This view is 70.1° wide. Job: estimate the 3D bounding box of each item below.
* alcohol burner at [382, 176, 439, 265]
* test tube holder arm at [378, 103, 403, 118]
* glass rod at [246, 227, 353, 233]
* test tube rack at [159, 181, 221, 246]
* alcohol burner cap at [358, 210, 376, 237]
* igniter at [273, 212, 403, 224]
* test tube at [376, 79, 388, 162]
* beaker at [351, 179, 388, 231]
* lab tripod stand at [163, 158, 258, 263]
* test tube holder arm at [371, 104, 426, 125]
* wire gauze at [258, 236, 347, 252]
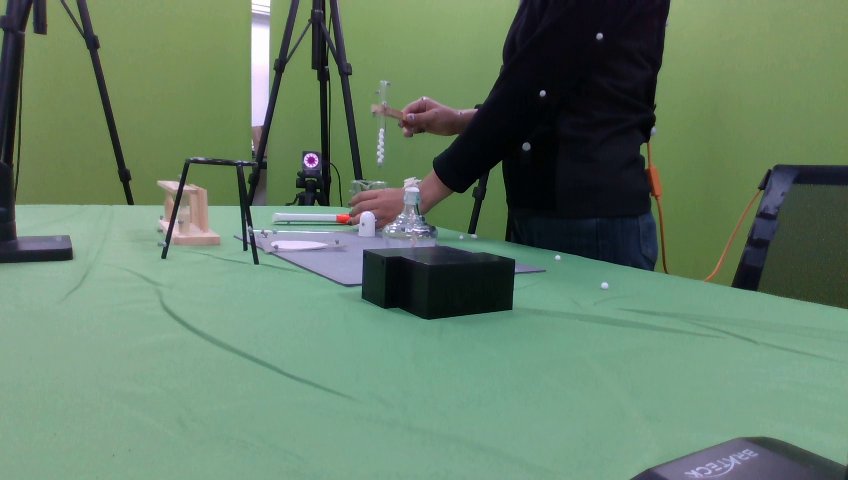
[{"bbox_3d":[-0.018,-0.027,0.818,0.078,0.119,0.078,3,10,0],"label":"alcohol burner"},{"bbox_3d":[-0.061,-0.239,1.120,0.010,0.015,0.088,6,4,22],"label":"test tube holder arm"},{"bbox_3d":[-0.224,-0.017,1.109,0.201,0.008,0.008,1,7,-27],"label":"glass rod"},{"bbox_3d":[-0.395,-0.050,1.010,0.067,0.085,0.241,-2,8,-28],"label":"test tube rack"},{"bbox_3d":[-0.104,-0.030,1.098,0.034,0.048,0.034,2,7,0],"label":"alcohol burner cap"},{"bbox_3d":[-0.179,-0.048,1.290,0.278,0.025,0.057,-1,-2,-24],"label":"igniter"},{"bbox_3d":[-0.077,-0.217,1.102,0.017,0.150,0.017,3,1,0],"label":"test tube"},{"bbox_3d":[-0.110,-0.070,1.205,0.074,0.100,0.084,2,8,-1],"label":"beaker"},{"bbox_3d":[-0.265,-0.041,0.802,0.148,0.131,0.148,4,6,0],"label":"lab tripod stand"},{"bbox_3d":[-0.046,-0.241,1.163,0.013,0.015,0.179,7,5,29],"label":"test tube holder arm"},{"bbox_3d":[-0.189,0.005,0.931,0.122,0.011,0.124,1,7,-21],"label":"wire gauze"}]
